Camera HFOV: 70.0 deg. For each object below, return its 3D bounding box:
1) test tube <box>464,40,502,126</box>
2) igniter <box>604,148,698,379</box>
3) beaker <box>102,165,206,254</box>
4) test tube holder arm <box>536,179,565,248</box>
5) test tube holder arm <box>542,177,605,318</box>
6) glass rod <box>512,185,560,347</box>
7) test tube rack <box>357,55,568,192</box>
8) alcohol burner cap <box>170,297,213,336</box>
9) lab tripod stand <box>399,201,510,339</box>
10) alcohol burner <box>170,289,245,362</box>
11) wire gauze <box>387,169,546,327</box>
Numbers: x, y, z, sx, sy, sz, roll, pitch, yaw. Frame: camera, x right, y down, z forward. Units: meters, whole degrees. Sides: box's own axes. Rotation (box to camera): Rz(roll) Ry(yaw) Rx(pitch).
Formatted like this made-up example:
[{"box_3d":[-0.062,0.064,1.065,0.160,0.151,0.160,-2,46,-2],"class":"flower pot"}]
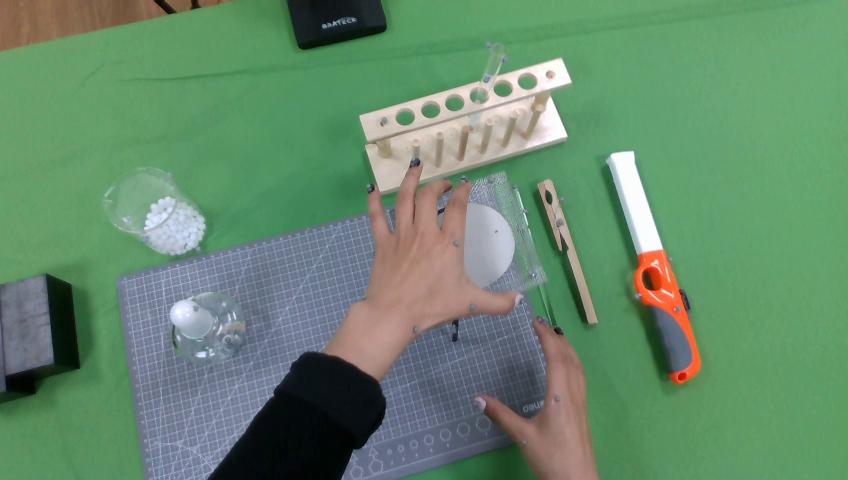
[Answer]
[{"box_3d":[0.063,-0.169,0.675,0.017,0.151,0.017,2,70,-6],"class":"test tube"},{"box_3d":[0.262,0.021,0.702,0.057,0.025,0.274,-7,73,-13],"class":"igniter"},{"box_3d":[-0.294,-0.029,0.673,0.084,0.101,0.073,3,72,1],"class":"beaker"},{"box_3d":[0.154,-0.032,0.723,0.010,0.015,0.087,-28,71,32],"class":"test tube holder arm"},{"box_3d":[0.172,0.007,0.707,0.013,0.015,0.177,-30,70,32],"class":"test tube holder arm"},{"box_3d":[0.130,0.028,0.709,0.008,0.008,0.198,-12,77,-5],"class":"glass rod"},{"box_3d":[0.050,-0.135,0.716,0.242,0.085,0.066,-17,74,-6],"class":"test tube rack"},{"box_3d":[-0.231,0.073,0.595,0.034,0.048,0.033,0,63,0],"class":"alcohol burner cap"},{"box_3d":[0.032,0.023,0.641,0.148,0.132,0.147,0,74,1],"class":"lab tripod stand"},{"box_3d":[-0.230,0.085,0.629,0.078,0.120,0.077,0,71,1],"class":"alcohol burner"},{"box_3d":[0.037,0.004,0.567,0.121,0.011,0.124,-19,72,5],"class":"wire gauze"}]
